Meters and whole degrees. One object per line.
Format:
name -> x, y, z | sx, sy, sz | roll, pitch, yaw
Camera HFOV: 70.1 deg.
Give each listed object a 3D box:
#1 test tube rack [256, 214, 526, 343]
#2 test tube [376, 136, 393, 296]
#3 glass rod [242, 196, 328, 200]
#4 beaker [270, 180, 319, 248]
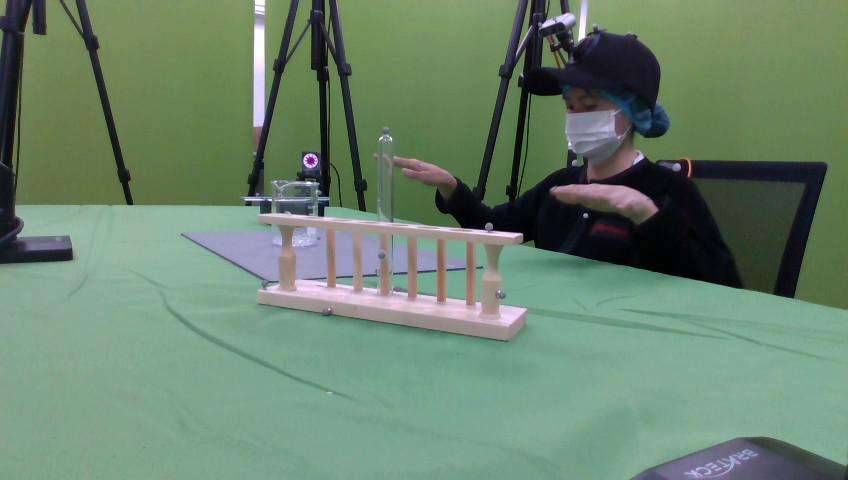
test tube rack -> -0.032, 0.027, 0.547 | 0.241, 0.085, 0.067 | 5, 7, 22
test tube -> -0.037, -0.021, 0.565 | 0.017, 0.150, 0.017 | 1, 6, 0
glass rod -> -0.287, -0.089, 1.268 | 0.201, 0.008, 0.008 | -4, 10, -43
beaker -> -0.203, -0.040, 0.935 | 0.074, 0.100, 0.084 | 5, 8, 18
